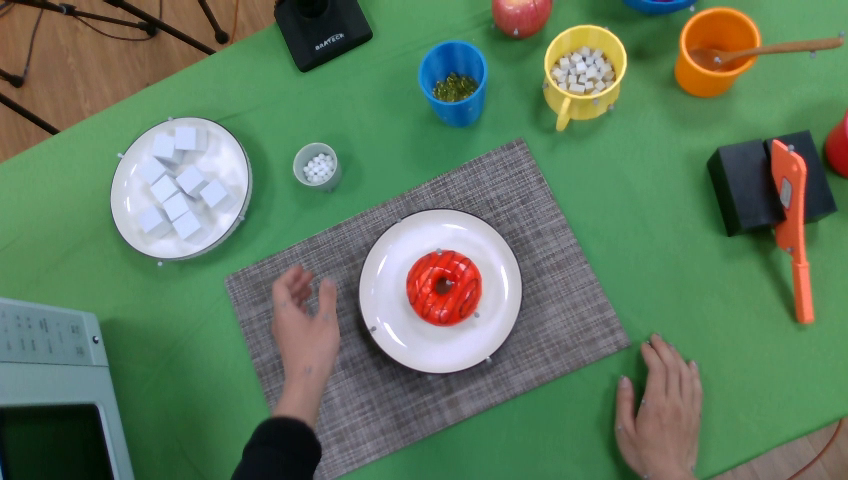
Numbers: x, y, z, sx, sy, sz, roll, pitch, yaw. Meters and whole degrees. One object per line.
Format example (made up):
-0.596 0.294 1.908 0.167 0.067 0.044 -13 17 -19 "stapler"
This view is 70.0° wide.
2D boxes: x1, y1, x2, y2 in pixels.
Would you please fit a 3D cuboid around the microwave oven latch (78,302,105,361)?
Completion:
-0.453 0.124 0.810 0.030 0.029 0.078 -20 76 4 "microwave oven latch"

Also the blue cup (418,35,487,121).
0.042 -0.200 0.783 0.092 0.101 0.092 -2 79 8 "blue cup"

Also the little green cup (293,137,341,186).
-0.143 -0.104 0.826 0.061 0.039 0.061 -2 78 10 "little green cup"

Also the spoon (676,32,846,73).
0.383 -0.222 0.706 0.022 0.192 0.041 28 82 -30 "spoon"

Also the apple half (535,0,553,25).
0.154 -0.327 0.804 0.033 0.082 0.081 -19 75 8 "apple half"

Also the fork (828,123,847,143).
0.554 -0.113 0.657 0.028 0.019 0.205 -52 32 -14 "fork"

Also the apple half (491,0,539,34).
0.117 -0.313 0.808 0.053 0.075 0.080 -20 79 8 "apple half"

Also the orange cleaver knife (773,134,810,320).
0.418 -0.014 0.691 0.012 0.077 0.212 -10 106 9 "orange cleaver knife"

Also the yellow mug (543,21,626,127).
0.197 -0.205 0.776 0.099 0.064 0.130 23 84 13 "yellow mug"

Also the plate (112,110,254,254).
-0.334 -0.079 0.852 0.207 0.039 0.206 -2 78 9 "plate"

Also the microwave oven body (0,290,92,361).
-0.545 0.318 0.685 0.326 0.261 0.439 -22 76 4 "microwave oven body"

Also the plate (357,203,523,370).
0.020 0.057 0.761 0.209 0.038 0.208 -2 78 10 "plate"

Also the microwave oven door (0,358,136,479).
-0.396 0.301 0.658 0.039 0.245 0.353 -22 75 4 "microwave oven door"

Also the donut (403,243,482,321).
0.022 0.052 0.750 0.099 0.048 0.098 -2 79 10 "donut"

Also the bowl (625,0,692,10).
0.304 -0.355 0.783 0.151 0.077 0.150 -2 79 9 "bowl"
